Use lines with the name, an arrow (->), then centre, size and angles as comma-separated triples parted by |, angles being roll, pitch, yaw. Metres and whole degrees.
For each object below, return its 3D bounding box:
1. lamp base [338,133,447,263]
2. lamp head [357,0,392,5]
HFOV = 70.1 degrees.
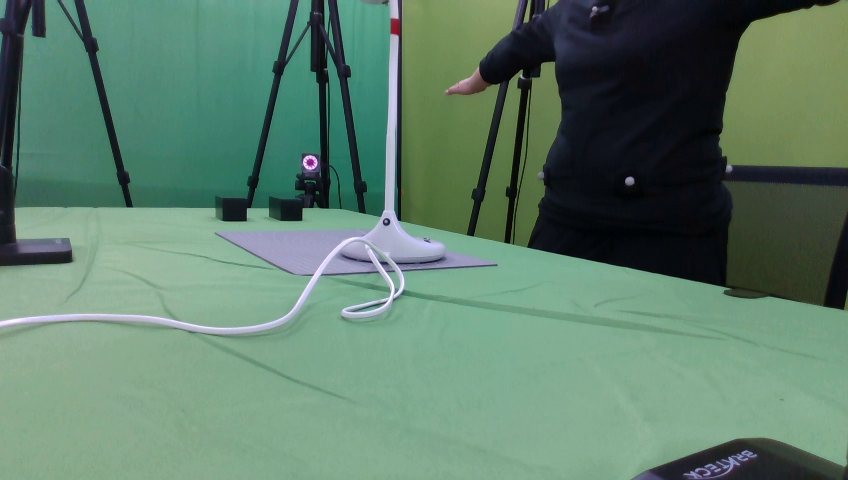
lamp base -> -0.043, -0.062, 0.868 | 0.161, 0.180, 0.179 | 2, 10, -3
lamp head -> -0.056, -0.383, 0.819 | 0.113, 0.112, 0.122 | 0, 13, -22
